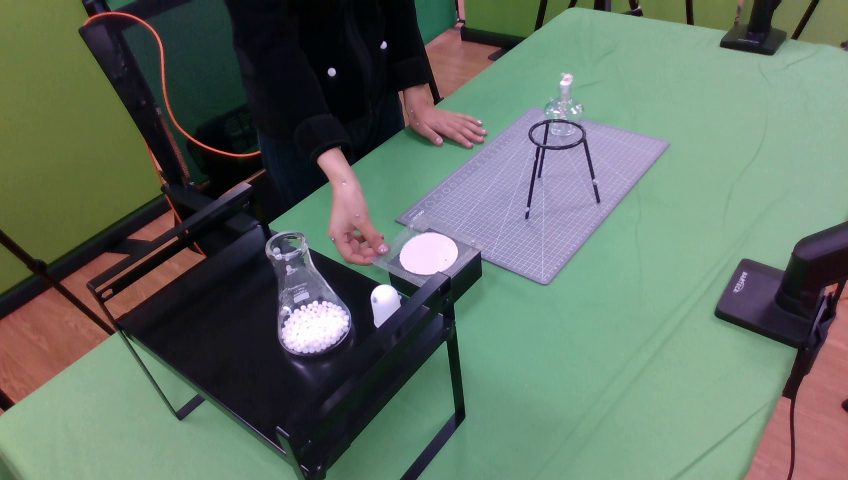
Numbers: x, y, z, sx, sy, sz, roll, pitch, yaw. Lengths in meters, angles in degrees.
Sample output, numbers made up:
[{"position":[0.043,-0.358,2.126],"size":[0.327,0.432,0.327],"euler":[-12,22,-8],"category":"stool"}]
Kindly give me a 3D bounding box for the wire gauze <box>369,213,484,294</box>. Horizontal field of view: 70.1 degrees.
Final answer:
[{"position":[0.004,0.019,0.885],"size":[0.120,0.011,0.125],"euler":[28,55,31],"category":"wire gauze"}]

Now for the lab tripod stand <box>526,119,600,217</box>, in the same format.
[{"position":[0.220,-0.122,0.995],"size":[0.148,0.132,0.147],"euler":[-3,39,3],"category":"lab tripod stand"}]

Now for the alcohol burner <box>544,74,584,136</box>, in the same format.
[{"position":[0.270,-0.263,1.169],"size":[0.078,0.119,0.077],"euler":[-6,39,5],"category":"alcohol burner"}]

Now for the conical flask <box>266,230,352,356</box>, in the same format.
[{"position":[-0.116,0.047,0.580],"size":[0.075,0.122,0.075],"euler":[-5,40,4],"category":"conical flask"}]

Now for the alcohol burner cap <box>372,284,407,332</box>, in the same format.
[{"position":[-0.036,0.066,0.608],"size":[0.034,0.048,0.033],"euler":[-5,38,5],"category":"alcohol burner cap"}]
